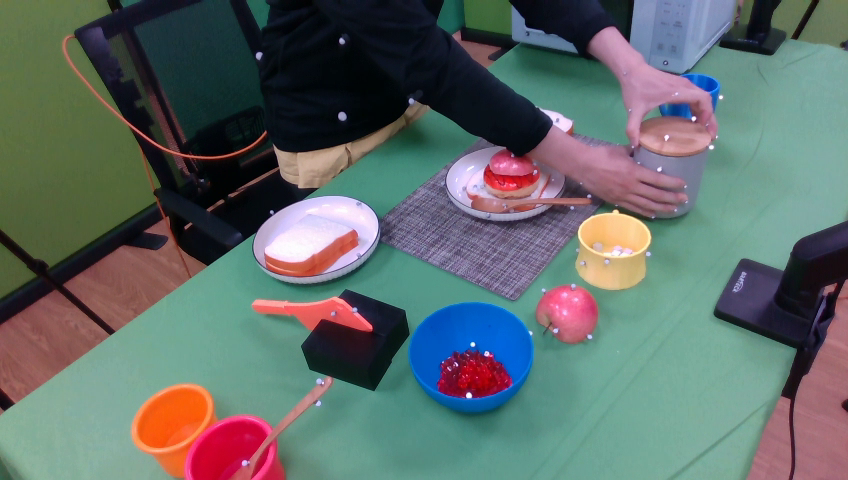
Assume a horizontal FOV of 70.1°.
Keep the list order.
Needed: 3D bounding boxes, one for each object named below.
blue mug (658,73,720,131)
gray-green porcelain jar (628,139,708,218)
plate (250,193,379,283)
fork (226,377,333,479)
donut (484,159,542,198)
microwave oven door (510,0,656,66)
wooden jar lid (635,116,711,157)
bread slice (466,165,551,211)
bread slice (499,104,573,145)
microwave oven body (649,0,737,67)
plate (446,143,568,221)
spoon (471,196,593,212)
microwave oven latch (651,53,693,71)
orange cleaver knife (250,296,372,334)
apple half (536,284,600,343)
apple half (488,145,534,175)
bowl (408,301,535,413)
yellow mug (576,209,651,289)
[{"bbox_3d":[0.483,-0.250,1.127,0.082,0.106,0.115,-26,44,-19],"label":"blue mug"},{"bbox_3d":[0.384,-0.107,0.961,0.106,0.127,0.105,-4,41,4],"label":"gray-green porcelain jar"},{"bbox_3d":[-0.174,-0.001,0.984,0.209,0.038,0.208,-4,40,4],"label":"plate"},{"bbox_3d":[-0.163,0.216,0.647,0.207,0.019,0.028,-49,41,16],"label":"fork"},{"bbox_3d":[0.149,-0.110,1.015,0.099,0.048,0.098,-4,42,4],"label":"donut"},{"bbox_3d":[0.350,-0.539,1.348,0.353,0.245,0.039,24,50,31],"label":"microwave oven door"},{"bbox_3d":[0.377,-0.154,0.919,0.108,0.021,0.108,-2,40,2],"label":"wooden jar lid"},{"bbox_3d":[0.141,-0.092,1.043,0.133,0.018,0.107,10,42,19],"label":"bread slice"},{"bbox_3d":[0.231,-0.232,1.205,0.105,0.019,0.130,-36,47,-28],"label":"bread slice"},{"bbox_3d":[0.475,-0.602,1.411,0.438,0.261,0.327,23,50,32],"label":"microwave oven body"},{"bbox_3d":[0.142,-0.097,1.045,0.207,0.039,0.206,-4,40,4],"label":"plate"},{"bbox_3d":[0.171,-0.060,0.974,0.193,0.022,0.041,-3,43,17],"label":"spoon"},{"bbox_3d":[0.532,-0.387,1.301,0.078,0.029,0.030,28,52,35],"label":"microwave oven latch"},{"bbox_3d":[-0.159,0.103,0.828,0.210,0.078,0.012,-4,43,39],"label":"orange cleaver knife"},{"bbox_3d":[0.196,0.091,0.815,0.075,0.053,0.080,-22,42,-20],"label":"apple half"},{"bbox_3d":[0.144,-0.138,0.994,0.081,0.033,0.081,1,36,0],"label":"apple half"},{"bbox_3d":[0.060,0.156,0.739,0.151,0.077,0.150,-4,40,4],"label":"bowl"},{"bbox_3d":[0.279,0.004,0.893,0.099,0.064,0.130,6,42,14],"label":"yellow mug"}]
